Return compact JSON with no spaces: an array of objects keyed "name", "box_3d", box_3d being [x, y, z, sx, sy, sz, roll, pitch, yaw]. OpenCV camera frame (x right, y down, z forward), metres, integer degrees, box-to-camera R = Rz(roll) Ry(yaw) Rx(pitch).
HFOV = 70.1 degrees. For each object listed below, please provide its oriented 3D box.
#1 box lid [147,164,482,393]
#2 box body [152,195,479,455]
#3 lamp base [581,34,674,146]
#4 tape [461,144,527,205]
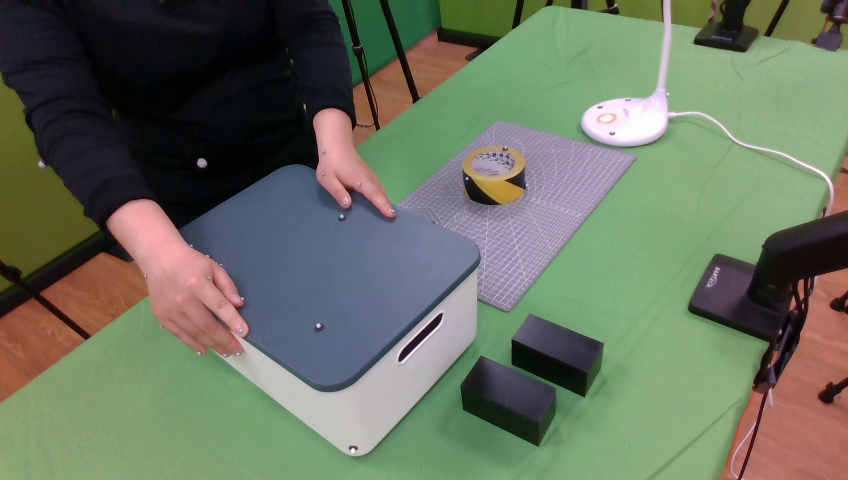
[{"name":"box lid","box_3d":[-0.140,0.020,0.744,0.368,0.015,0.264,25,50,32]},{"name":"box body","box_3d":[-0.133,0.074,0.793,0.361,0.161,0.255,25,50,32]},{"name":"lamp base","box_3d":[0.392,-0.291,1.129,0.180,0.181,0.159,-11,41,-8]},{"name":"tape","box_3d":[0.124,-0.116,1.058,0.117,0.053,0.116,-4,42,4]}]
